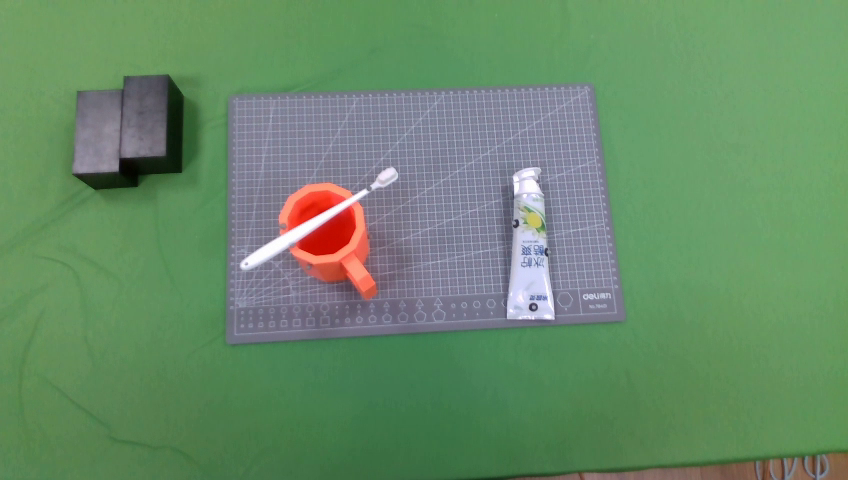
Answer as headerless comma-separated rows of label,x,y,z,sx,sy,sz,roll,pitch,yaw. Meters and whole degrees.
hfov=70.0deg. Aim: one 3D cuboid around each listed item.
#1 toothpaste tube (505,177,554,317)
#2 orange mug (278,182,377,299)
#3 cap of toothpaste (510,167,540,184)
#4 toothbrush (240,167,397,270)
toothpaste tube,0.119,0.006,0.698,0.055,0.034,0.164,-1,80,4
orange mug,-0.094,0.007,0.650,0.083,0.101,0.125,-37,76,-11
cap of toothpaste,0.120,-0.074,0.711,0.037,0.037,0.011,-12,73,-6
toothbrush,-0.103,-0.023,0.603,0.182,0.017,0.014,-33,84,-10
